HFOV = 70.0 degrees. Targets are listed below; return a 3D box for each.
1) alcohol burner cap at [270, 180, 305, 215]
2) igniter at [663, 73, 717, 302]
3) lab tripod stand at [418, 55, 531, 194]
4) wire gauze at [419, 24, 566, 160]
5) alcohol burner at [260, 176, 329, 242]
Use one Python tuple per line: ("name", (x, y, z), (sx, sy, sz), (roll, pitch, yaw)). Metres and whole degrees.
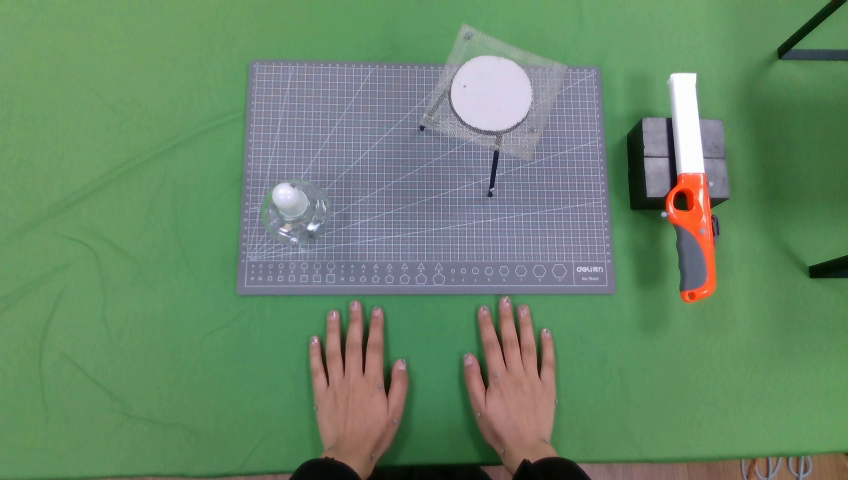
("alcohol burner cap", (-0.146, -0.047, 0.636), (0.034, 0.048, 0.033), (0, 79, 0))
("igniter", (0.306, -0.065, 0.705), (0.057, 0.025, 0.275), (0, 77, 2))
("lab tripod stand", (0.067, -0.143, 0.697), (0.148, 0.132, 0.147), (1, 76, -3))
("wire gauze", (0.073, -0.155, 0.631), (0.121, 0.011, 0.124), (22, 76, 1))
("alcohol burner", (-0.146, -0.038, 0.672), (0.078, 0.119, 0.077), (1, 79, -4))
